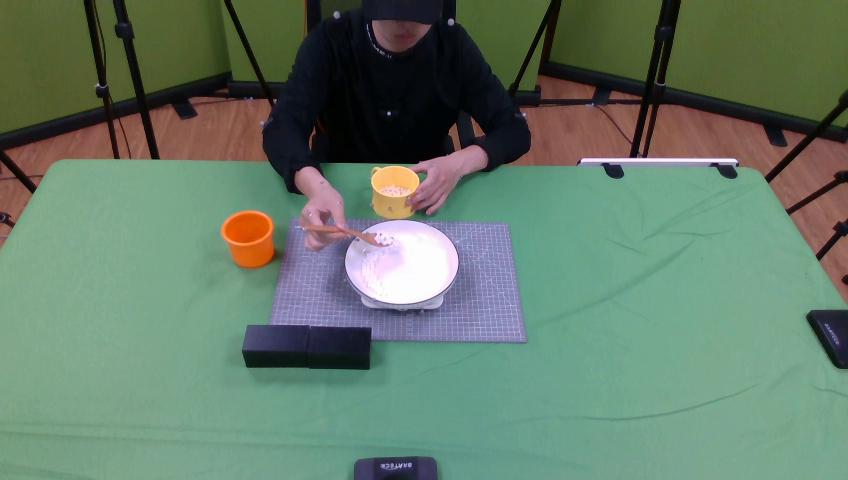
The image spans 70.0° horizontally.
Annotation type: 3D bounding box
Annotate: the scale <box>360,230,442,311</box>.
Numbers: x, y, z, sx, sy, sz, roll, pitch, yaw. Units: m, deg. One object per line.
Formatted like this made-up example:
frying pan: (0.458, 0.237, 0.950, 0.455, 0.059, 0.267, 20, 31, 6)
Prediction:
scale: (-0.043, 0.048, 1.138, 0.149, 0.032, 0.199, 1, 46, -3)

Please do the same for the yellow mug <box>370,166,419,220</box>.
yellow mug: (-0.072, -0.108, 1.267, 0.100, 0.064, 0.130, -30, 53, -30)

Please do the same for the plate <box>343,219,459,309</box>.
plate: (-0.041, 0.046, 1.094, 0.209, 0.038, 0.208, 2, 46, -1)

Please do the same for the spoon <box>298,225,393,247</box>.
spoon: (-0.133, -0.012, 1.052, 0.195, 0.021, 0.041, 13, 30, -44)
